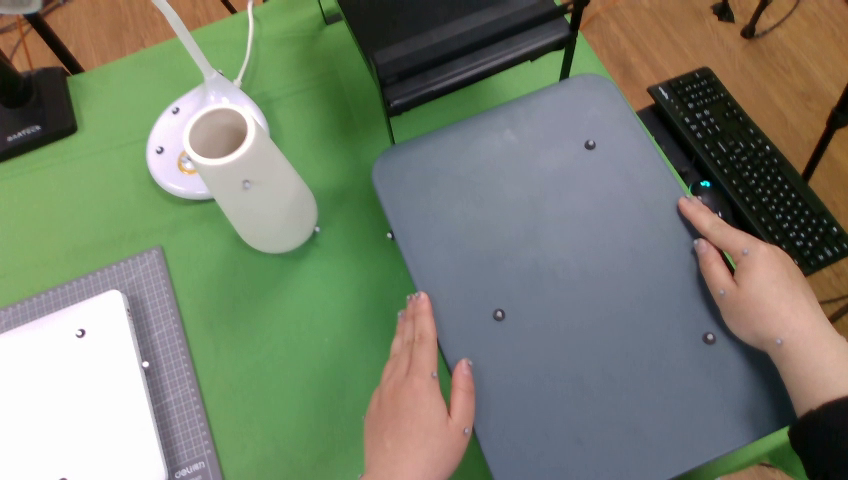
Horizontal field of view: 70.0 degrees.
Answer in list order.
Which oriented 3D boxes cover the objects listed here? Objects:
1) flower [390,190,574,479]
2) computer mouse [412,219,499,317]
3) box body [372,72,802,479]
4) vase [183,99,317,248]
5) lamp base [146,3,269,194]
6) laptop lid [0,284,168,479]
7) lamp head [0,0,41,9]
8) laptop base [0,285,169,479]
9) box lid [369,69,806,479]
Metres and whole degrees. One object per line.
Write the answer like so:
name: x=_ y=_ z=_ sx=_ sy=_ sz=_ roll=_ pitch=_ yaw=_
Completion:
flower: x=0.065 y=0.101 z=0.633 sx=0.044 sy=0.038 sz=0.360 roll=-15 pitch=71 yaw=-50
computer mouse: x=0.033 y=0.027 z=0.680 sx=0.063 sy=0.041 sz=0.116 roll=-28 pitch=60 yaw=-3
box body: x=0.132 y=0.051 z=0.603 sx=0.254 sy=0.161 sz=0.361 roll=-22 pitch=68 yaw=-4
vase: x=-0.184 y=-0.067 z=0.655 sx=0.098 sy=0.201 sz=0.097 roll=-2 pitch=67 yaw=6
lamp base: x=-0.283 y=-0.173 z=0.716 sx=0.160 sy=0.181 sz=0.178 roll=9 pitch=66 yaw=8
laptop lid: x=-0.467 y=0.213 z=0.646 sx=0.357 sy=0.013 sz=0.240 roll=-21 pitch=70 yaw=-4
lamp head: x=-0.324 y=-0.236 z=0.421 sx=0.112 sy=0.113 sz=0.122 roll=6 pitch=86 yaw=7
laptop base: x=-0.467 y=0.215 z=0.657 sx=0.354 sy=0.023 sz=0.233 roll=-23 pitch=71 yaw=-5
box lid: x=0.125 y=0.020 z=0.536 sx=0.263 sy=0.015 sz=0.368 roll=-21 pitch=68 yaw=-5
